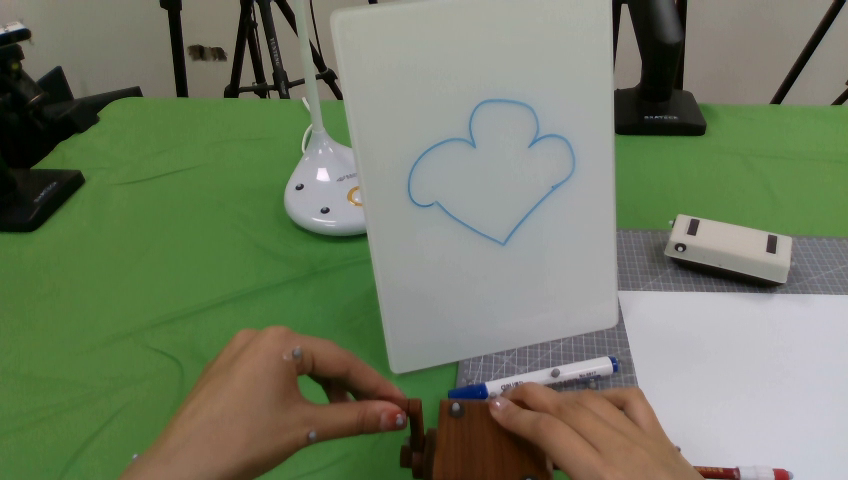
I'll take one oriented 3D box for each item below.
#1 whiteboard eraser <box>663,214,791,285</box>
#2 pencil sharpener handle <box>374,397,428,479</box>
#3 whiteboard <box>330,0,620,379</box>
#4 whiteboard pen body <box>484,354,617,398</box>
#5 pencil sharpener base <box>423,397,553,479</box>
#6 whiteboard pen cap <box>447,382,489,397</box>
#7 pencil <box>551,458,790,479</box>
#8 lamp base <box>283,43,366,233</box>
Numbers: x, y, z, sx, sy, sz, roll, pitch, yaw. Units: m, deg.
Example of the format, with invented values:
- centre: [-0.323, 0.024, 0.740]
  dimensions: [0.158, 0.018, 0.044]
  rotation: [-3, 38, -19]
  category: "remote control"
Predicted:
- centre: [0.304, 0.010, 0.610]
  dimensions: [0.112, 0.042, 0.055]
  rotation: [15, 44, 22]
  category: "whiteboard eraser"
- centre: [-0.013, 0.123, 0.377]
  dimensions: [0.030, 0.068, 0.035]
  rotation: [0, 32, 6]
  category: "pencil sharpener handle"
- centre: [0.046, -0.061, 0.559]
  dimensions: [0.217, 0.307, 0.142]
  rotation: [-11, 20, -7]
  category: "whiteboard"
- centre: [0.094, 0.116, 0.507]
  dimensions: [0.141, 0.017, 0.017]
  rotation: [-11, 39, -7]
  category: "whiteboard pen body"
- centre: [0.041, 0.158, 0.398]
  dimensions: [0.076, 0.108, 0.061]
  rotation: [0, 39, 6]
  category: "pencil sharpener base"
- centre: [0.036, 0.128, 0.499]
  dimensions: [0.033, 0.018, 0.018]
  rotation: [-11, 39, -7]
  category: "whiteboard pen cap"
- centre: [0.121, 0.139, 0.371]
  dimensions: [0.194, 0.012, 0.012]
  rotation: [1, 39, 5]
  category: "pencil"
- centre: [-0.104, -0.126, 0.703]
  dimensions: [0.161, 0.182, 0.177]
  rotation: [-30, 43, -29]
  category: "lamp base"
